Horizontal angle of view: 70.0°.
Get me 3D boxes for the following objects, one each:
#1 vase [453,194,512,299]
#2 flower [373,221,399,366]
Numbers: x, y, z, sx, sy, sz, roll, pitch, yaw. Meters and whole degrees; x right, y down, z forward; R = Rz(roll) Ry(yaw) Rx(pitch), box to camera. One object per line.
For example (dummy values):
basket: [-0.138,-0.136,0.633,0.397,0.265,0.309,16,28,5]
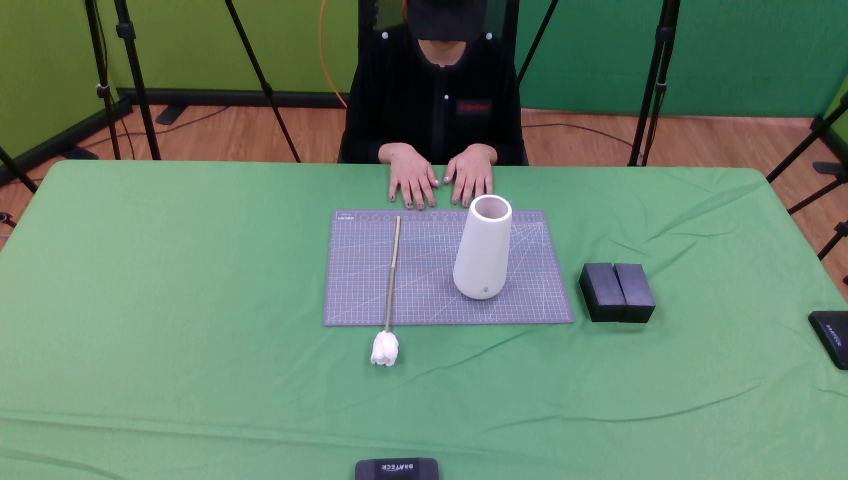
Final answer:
vase: [0.107,0.016,1.065,0.098,0.201,0.097,3,47,-3]
flower: [-0.061,0.080,1.122,0.044,0.038,0.359,-26,36,22]
